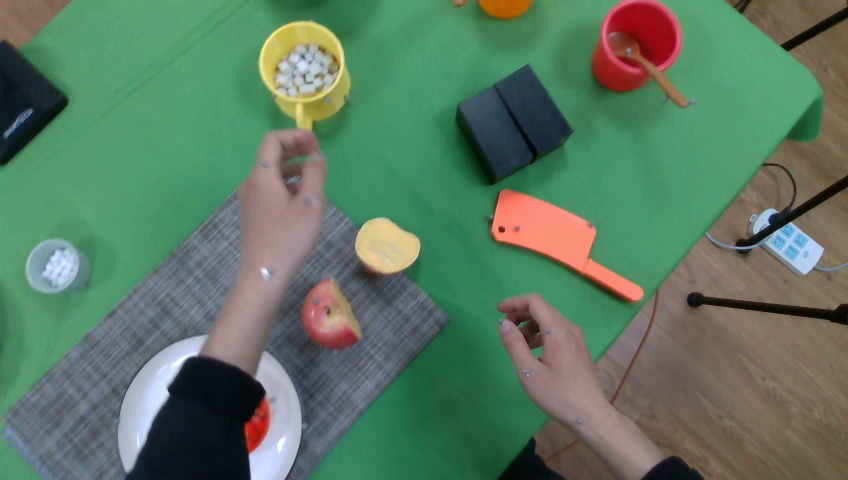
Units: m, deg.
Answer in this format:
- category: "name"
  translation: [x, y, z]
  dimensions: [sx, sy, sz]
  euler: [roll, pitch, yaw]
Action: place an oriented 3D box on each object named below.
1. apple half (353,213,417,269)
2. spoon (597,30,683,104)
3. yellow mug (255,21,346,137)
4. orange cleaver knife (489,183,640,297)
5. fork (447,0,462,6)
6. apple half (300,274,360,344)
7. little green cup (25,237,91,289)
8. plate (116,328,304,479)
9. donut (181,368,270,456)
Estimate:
- category: "apple half"
  translation: [-0.051, 0.009, 0.726]
  dimensions: [0.081, 0.033, 0.080]
  euler: [10, 49, -12]
- category: "spoon"
  translation: [0.253, -0.207, 0.713]
  dimensions: [0.041, 0.191, 0.022]
  euler: [-10, 127, -4]
- category: "yellow mug"
  translation: [-0.150, -0.191, 0.741]
  dimensions: [0.100, 0.064, 0.130]
  euler: [1, 83, -1]
- category: "orange cleaver knife"
  translation: [0.176, -0.001, 0.746]
  dimensions: [0.211, 0.012, 0.077]
  euler: [27, 78, 3]
- category: "fork"
  translation: [0.072, -0.306, 0.719]
  dimensions: [0.028, 0.019, 0.206]
  euler: [36, 39, 4]
- category: "apple half"
  translation: [-0.113, 0.085, 0.697]
  dimensions: [0.053, 0.075, 0.080]
  euler: [-28, 87, -1]
- category: "little green cup"
  translation: [-0.431, 0.029, 0.719]
  dimensions: [0.061, 0.039, 0.061]
  euler: [0, 82, -1]
- category: "plate"
  translation: [-0.240, 0.205, 0.695]
  dimensions: [0.209, 0.038, 0.208]
  euler: [0, 82, -1]
- category: "donut"
  translation: [-0.224, 0.194, 0.686]
  dimensions: [0.099, 0.048, 0.099]
  euler: [0, 84, -2]
